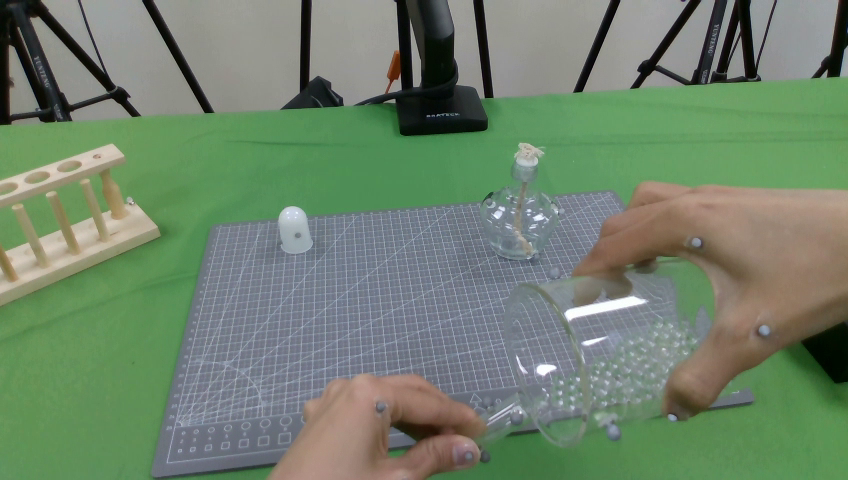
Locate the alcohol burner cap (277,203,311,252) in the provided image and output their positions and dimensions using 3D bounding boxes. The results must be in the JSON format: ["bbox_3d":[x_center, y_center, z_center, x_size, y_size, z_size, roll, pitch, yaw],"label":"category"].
[{"bbox_3d":[-0.133,-0.015,0.608,0.034,0.048,0.033,-1,39,1],"label":"alcohol burner cap"}]

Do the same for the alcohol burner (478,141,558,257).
[{"bbox_3d":[0.093,-0.043,0.583,0.078,0.120,0.077,1,39,-1],"label":"alcohol burner"}]

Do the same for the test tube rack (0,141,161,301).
[{"bbox_3d":[-0.389,-0.004,0.569,0.242,0.086,0.066,-29,47,-31],"label":"test tube rack"}]

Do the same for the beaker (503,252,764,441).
[{"bbox_3d":[0.098,0.048,0.289,0.100,0.084,0.073,-10,51,-16],"label":"beaker"}]

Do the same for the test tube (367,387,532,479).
[{"bbox_3d":[-0.004,0.123,0.329,0.150,0.017,0.017,-38,35,19],"label":"test tube"}]

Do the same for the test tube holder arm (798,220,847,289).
[{"bbox_3d":[0.348,0.037,0.484,0.015,0.013,0.176,1,39,1],"label":"test tube holder arm"}]

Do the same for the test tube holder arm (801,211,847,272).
[{"bbox_3d":[0.349,0.004,0.515,0.015,0.010,0.087,1,39,1],"label":"test tube holder arm"}]
